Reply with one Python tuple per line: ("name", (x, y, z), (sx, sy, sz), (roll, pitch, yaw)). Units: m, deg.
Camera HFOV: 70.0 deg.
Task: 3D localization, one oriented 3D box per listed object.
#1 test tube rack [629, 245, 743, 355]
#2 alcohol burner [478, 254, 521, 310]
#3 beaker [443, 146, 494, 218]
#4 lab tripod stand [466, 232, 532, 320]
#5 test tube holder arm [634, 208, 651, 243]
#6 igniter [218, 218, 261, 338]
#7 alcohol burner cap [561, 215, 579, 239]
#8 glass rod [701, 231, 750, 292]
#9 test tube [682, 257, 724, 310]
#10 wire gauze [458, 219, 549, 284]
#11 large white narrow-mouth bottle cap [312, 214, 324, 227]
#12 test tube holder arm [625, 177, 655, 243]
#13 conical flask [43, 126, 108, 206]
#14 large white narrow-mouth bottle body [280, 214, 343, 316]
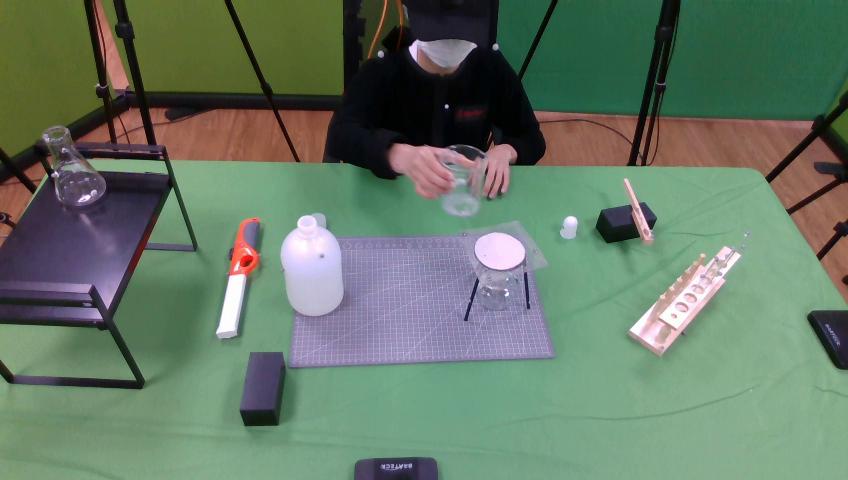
("test tube rack", (0.474, 0.095, 1.091), (0.242, 0.085, 0.066), (-34, 56, -31))
("alcohol burner", (0.134, 0.068, 1.071), (0.078, 0.120, 0.077), (0, 47, 0))
("beaker", (0.072, -0.093, 0.995), (0.084, 0.101, 0.073), (-8, 43, -9))
("lab tripod stand", (0.125, 0.059, 1.065), (0.148, 0.132, 0.147), (1, 45, 0))
("test tube holder arm", (0.428, -0.030, 1.189), (0.010, 0.015, 0.087), (2, 47, -2))
("igniter", (-0.336, 0.060, 1.111), (0.057, 0.025, 0.274), (-8, 46, 4))
("alcohol burner cap", (0.299, -0.030, 1.231), (0.034, 0.048, 0.033), (1, 46, 0))
("glass rod", (0.519, 0.045, 1.050), (0.008, 0.201, 0.008), (0, 55, 0))
("test tube", (0.475, 0.080, 1.037), (0.017, 0.151, 0.017), (2, 51, -2))
("wire gauze", (0.131, 0.014, 1.016), (0.121, 0.011, 0.124), (-12, 46, -13))
("large white narrow-mouth bottle cap", (-0.219, -0.033, 1.214), (0.038, 0.024, 0.037), (2, 46, -2))
("test tube holder arm", (0.433, -0.062, 1.220), (0.013, 0.015, 0.177), (1, 47, -3))
("conical flask", (-0.555, -0.119, 0.953), (0.075, 0.122, 0.075), (2, 46, -2))
("large white narrow-mouth bottle body", (-0.190, 0.035, 1.025), (0.102, 0.195, 0.101), (2, 46, -2))
